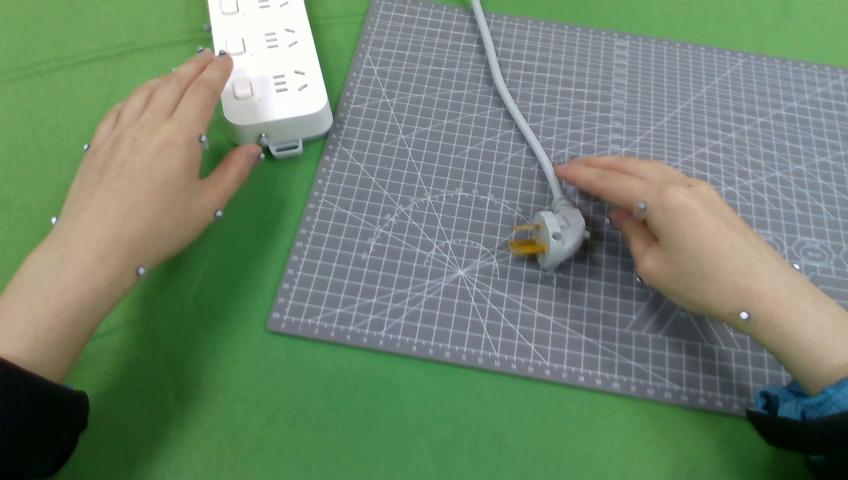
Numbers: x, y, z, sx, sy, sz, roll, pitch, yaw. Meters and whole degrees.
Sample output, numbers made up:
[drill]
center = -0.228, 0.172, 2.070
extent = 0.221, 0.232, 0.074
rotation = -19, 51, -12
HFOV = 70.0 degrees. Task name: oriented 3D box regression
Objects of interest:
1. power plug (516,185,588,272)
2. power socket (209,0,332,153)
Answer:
[power plug]
center = 0.078, -0.008, 0.358
extent = 0.035, 0.073, 0.052
rotation = 5, 93, 16
[power socket]
center = -0.123, -0.166, 0.459
extent = 0.072, 0.033, 0.224
rotation = -12, 63, -10
